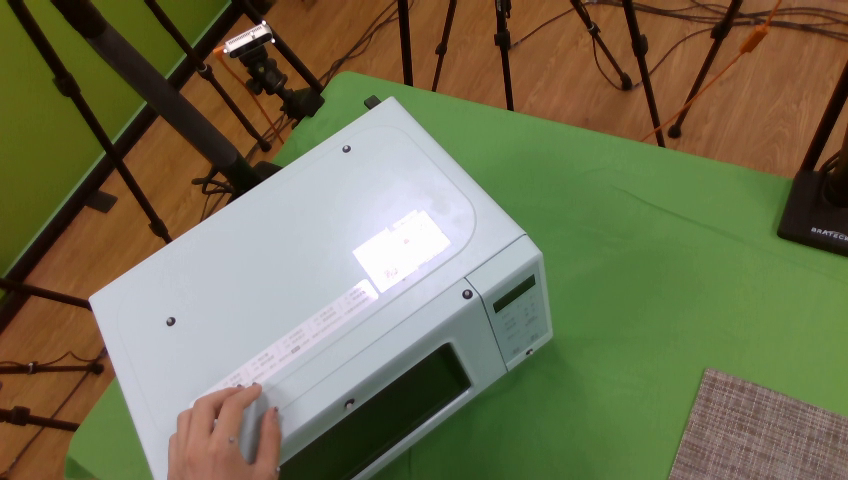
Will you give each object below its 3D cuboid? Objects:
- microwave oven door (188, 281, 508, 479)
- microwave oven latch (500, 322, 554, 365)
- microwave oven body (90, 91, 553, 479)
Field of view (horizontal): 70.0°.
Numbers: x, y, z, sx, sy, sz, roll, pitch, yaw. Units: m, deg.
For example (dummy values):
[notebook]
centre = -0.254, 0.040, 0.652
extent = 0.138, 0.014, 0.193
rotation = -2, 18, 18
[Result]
[microwave oven door]
centre = -0.069, 0.203, 0.680
extent = 0.356, 0.246, 0.039
rotation = -36, 57, -7
[microwave oven latch]
centre = 0.133, 0.128, 0.791
extent = 0.079, 0.030, 0.030
rotation = -34, 58, -5
[microwave oven body]
centre = -0.113, 0.086, 0.765
extent = 0.441, 0.263, 0.322
rotation = -36, 59, -6
